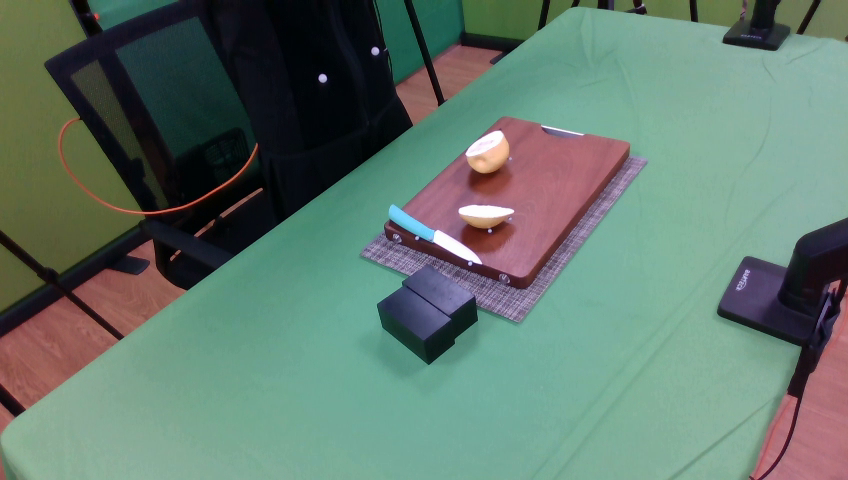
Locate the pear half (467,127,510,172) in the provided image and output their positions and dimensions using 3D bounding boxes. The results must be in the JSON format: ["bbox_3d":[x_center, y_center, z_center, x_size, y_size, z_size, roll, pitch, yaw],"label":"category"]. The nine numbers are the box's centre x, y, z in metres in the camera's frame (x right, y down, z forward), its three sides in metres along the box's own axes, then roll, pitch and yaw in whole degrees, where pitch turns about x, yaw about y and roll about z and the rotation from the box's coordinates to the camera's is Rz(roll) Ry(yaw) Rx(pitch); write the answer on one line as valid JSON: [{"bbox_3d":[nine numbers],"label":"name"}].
[{"bbox_3d":[0.124,-0.162,1.079,0.076,0.056,0.110,-1,40,38],"label":"pear half"}]

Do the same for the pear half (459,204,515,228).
[{"bbox_3d":[0.098,-0.036,0.953,0.088,0.031,0.070,4,25,-4],"label":"pear half"}]

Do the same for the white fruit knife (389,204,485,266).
[{"bbox_3d":[0.015,-0.007,0.950,0.205,0.016,0.027,30,68,34],"label":"white fruit knife"}]
